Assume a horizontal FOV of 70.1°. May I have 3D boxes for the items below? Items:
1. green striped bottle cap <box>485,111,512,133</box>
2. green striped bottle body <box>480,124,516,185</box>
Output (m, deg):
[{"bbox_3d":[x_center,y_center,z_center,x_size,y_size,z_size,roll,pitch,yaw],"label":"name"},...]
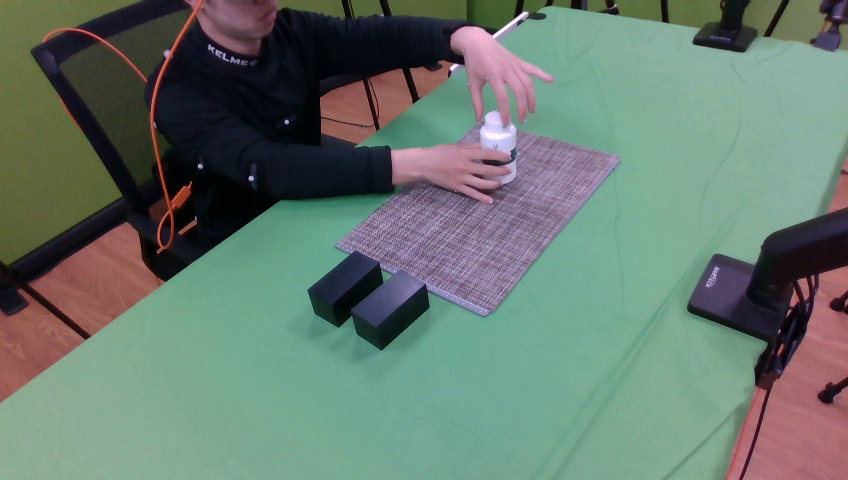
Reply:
[{"bbox_3d":[0.126,-0.200,1.024,0.044,0.020,0.044,-7,42,7],"label":"green striped bottle cap"},{"bbox_3d":[0.130,-0.162,1.057,0.063,0.120,0.063,-4,40,4],"label":"green striped bottle body"}]
